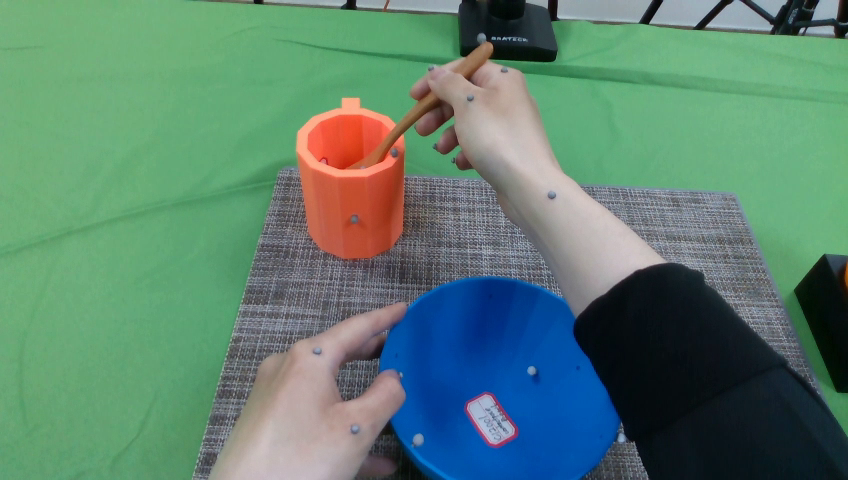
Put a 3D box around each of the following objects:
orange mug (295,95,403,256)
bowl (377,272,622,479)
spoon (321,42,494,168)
[{"bbox_3d":[-0.064,-0.063,0.523,0.083,0.101,0.125,-3,54,-7],"label":"orange mug"},{"bbox_3d":[0.044,0.103,0.399,0.151,0.077,0.150,2,49,-2],"label":"bowl"},{"bbox_3d":[-0.022,-0.085,0.469,0.041,0.194,0.021,55,27,1],"label":"spoon"}]
